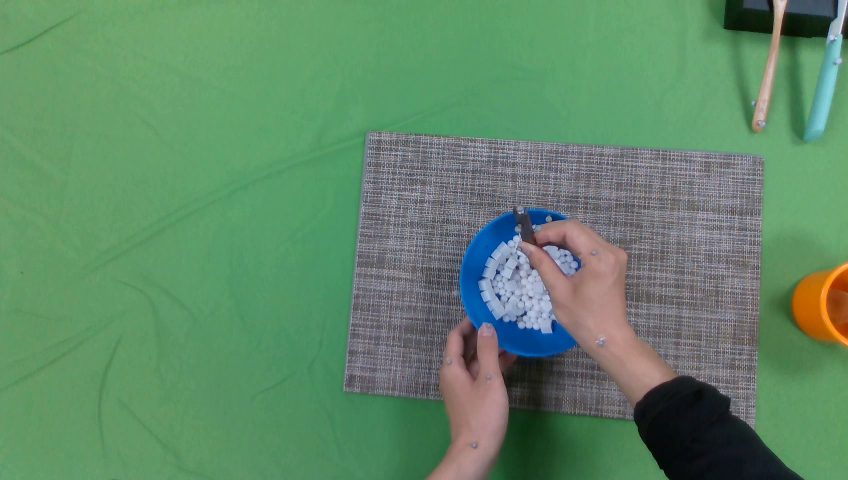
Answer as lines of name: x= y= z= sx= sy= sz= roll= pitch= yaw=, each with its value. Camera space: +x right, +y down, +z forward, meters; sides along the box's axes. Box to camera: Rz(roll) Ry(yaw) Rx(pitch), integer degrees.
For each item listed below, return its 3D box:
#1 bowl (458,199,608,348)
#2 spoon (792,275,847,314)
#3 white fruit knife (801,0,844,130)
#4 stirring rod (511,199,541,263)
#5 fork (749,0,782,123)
bowl: x=0.111 y=0.037 z=0.644 sx=0.151 sy=0.077 sz=0.151 roll=0 pitch=85 yaw=3
spoon: x=0.471 y=0.059 z=0.592 sx=0.022 sy=0.192 sz=0.041 roll=10 pitch=84 yaw=-41
white fruit knife: x=0.437 y=-0.223 z=0.649 sx=0.016 sy=0.027 sz=0.208 roll=5 pitch=102 yaw=1
stirring rod: x=0.100 y=-0.004 z=0.583 sx=0.014 sy=0.177 sz=0.006 roll=20 pitch=78 yaw=20
fork: x=0.375 y=-0.232 z=0.654 sx=0.028 sy=0.018 sz=0.208 roll=2 pitch=105 yaw=1
